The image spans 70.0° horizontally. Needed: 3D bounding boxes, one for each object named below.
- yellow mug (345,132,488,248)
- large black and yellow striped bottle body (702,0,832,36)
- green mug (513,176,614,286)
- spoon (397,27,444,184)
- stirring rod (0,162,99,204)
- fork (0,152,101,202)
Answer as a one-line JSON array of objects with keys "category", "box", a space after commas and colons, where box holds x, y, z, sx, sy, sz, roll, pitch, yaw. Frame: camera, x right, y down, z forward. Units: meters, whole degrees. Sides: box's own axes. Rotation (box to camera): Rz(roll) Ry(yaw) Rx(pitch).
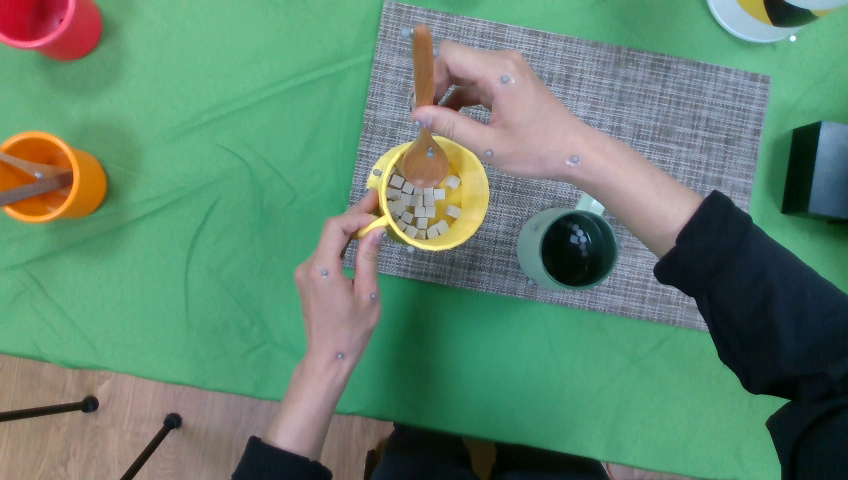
[{"category": "yellow mug", "box": [-0.013, -0.037, 0.548, 0.131, 0.063, 0.100, -31, 102, -13]}, {"category": "large black and yellow striped bottle body", "box": [0.376, -0.295, 0.604, 0.131, 0.184, 0.130, 0, 90, -1]}, {"category": "green mug", "box": [0.153, -0.010, 0.639, 0.092, 0.105, 0.125, 27, 90, -1]}, {"category": "spoon", "box": [-0.002, -0.089, 0.451, 0.041, 0.195, 0.021, -5, 72, -2]}, {"category": "stirring rod", "box": [-0.416, -0.047, 0.609, 0.176, 0.006, 0.014, -32, 94, -43]}, {"category": "fork", "box": [-0.430, -0.087, 0.602, 0.209, 0.018, 0.028, 29, 86, -45]}]
